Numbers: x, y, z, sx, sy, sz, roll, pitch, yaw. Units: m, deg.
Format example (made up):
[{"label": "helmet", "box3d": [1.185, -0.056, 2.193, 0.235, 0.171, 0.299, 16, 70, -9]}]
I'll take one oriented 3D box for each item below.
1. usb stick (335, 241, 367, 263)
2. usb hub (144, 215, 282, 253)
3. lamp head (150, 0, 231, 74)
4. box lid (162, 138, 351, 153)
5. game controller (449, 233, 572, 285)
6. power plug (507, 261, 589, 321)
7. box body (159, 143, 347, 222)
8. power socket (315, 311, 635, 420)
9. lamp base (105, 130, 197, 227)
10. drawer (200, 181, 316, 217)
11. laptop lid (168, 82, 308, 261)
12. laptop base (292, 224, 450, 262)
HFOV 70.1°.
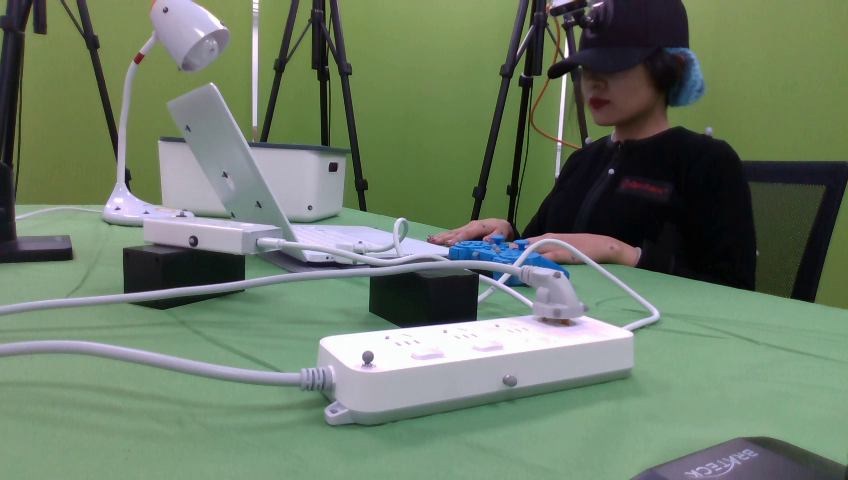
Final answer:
[{"label": "usb stick", "box3d": [-0.093, 0.014, 0.742, 0.021, 0.027, 0.059, -4, 1, -34]}, {"label": "usb hub", "box3d": [-0.200, -0.006, 0.573, 0.125, 0.025, 0.050, 6, 7, 23]}, {"label": "lamp head", "box3d": [-0.432, -0.375, 1.086, 0.123, 0.112, 0.112, 42, 8, -2]}, {"label": "box lid", "box3d": [-0.371, -0.215, 1.394, 0.371, 0.015, 0.263, 4, 8, 7]}, {"label": "game controller", "box3d": [0.101, 0.021, 0.760, 0.097, 0.051, 0.154, -7, 10, -30]}, {"label": "power plug", "box3d": [0.091, 0.043, 0.444, 0.035, 0.052, 0.072, -1, 5, -18]}, {"label": "box body", "box3d": [-0.384, -0.137, 1.407, 0.364, 0.160, 0.254, 3, 8, 7]}, {"label": "power socket", "box3d": [0.039, 0.072, 0.385, 0.228, 0.032, 0.072, -2, 7, -29]}, {"label": "lamp base", "box3d": [-0.532, -0.120, 1.153, 0.179, 0.180, 0.161, 1, 7, 8]}, {"label": "drawer", "box3d": [-0.372, -0.097, 1.393, 0.212, 0.073, 0.194, 1, 9, 6]}, {"label": "laptop lid", "box3d": [-0.273, -0.094, 0.844, 0.013, 0.242, 0.355, -33, 24, -22]}, {"label": "laptop base", "box3d": [-0.127, 0.002, 0.946, 0.237, 0.023, 0.352, 2, 6, -31]}]
